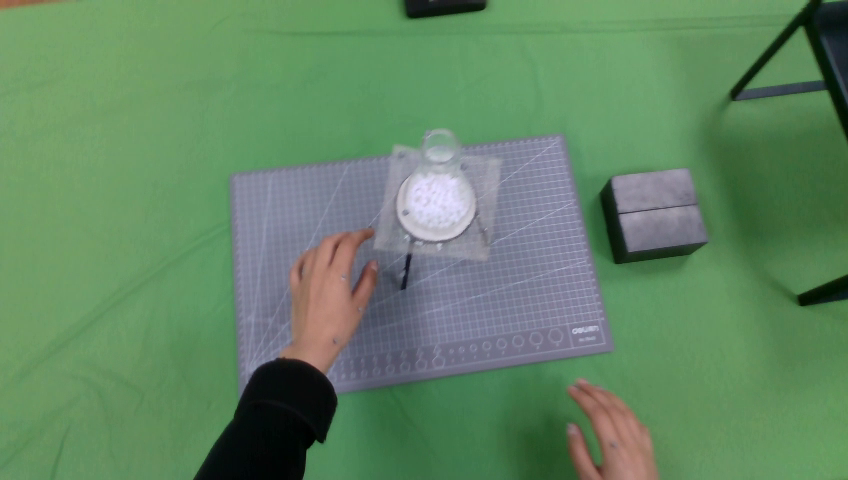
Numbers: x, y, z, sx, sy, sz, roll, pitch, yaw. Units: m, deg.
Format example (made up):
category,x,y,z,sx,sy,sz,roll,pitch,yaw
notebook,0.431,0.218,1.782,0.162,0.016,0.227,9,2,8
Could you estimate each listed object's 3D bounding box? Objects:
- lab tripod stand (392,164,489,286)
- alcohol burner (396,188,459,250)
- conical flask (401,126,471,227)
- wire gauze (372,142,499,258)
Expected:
category,x,y,z,sx,sy,sz,roll,pitch,yaw
lab tripod stand,0.007,-0.024,0.710,0.148,0.132,0.147,0,72,1
alcohol burner,0.004,-0.031,0.723,0.078,0.120,0.077,0,73,0
conical flask,0.013,-0.066,0.593,0.075,0.122,0.075,0,71,0
wire gauze,0.014,-0.044,0.647,0.121,0.011,0.124,9,70,1
